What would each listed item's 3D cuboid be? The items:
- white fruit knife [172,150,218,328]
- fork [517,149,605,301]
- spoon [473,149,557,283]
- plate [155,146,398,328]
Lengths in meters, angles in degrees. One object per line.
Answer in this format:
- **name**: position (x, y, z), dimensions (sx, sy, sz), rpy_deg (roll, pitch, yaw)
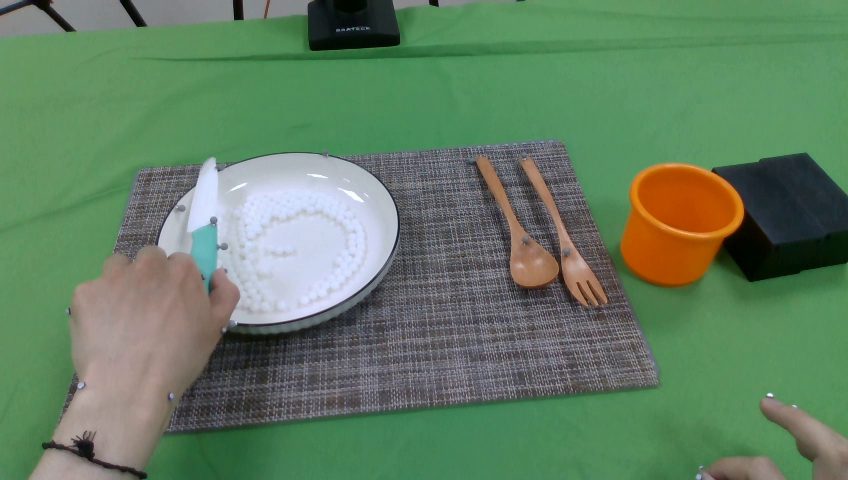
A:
- **white fruit knife**: position (-0.188, -0.012, 0.515), dimensions (0.027, 0.016, 0.205), rpy_deg (-5, 48, -9)
- **fork**: position (0.121, -0.022, 0.569), dimensions (0.028, 0.019, 0.205), rpy_deg (-12, 51, -3)
- **spoon**: position (0.078, -0.030, 0.573), dimensions (0.041, 0.022, 0.191), rpy_deg (-22, 49, 5)
- **plate**: position (-0.125, -0.005, 0.539), dimensions (0.209, 0.038, 0.207), rpy_deg (0, 48, 0)
